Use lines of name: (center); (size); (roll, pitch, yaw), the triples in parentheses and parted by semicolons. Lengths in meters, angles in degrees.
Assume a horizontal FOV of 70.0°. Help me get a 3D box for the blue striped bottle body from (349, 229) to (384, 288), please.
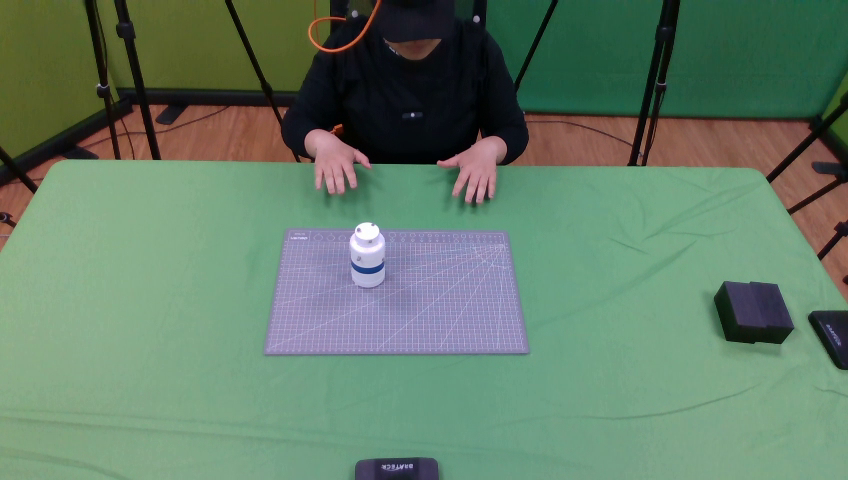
blue striped bottle body: (-0.103, 0.026, 1.093); (0.063, 0.121, 0.062); (2, 46, -2)

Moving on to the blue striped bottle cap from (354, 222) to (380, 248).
blue striped bottle cap: (-0.100, -0.009, 1.057); (0.044, 0.021, 0.044); (2, 46, -1)
